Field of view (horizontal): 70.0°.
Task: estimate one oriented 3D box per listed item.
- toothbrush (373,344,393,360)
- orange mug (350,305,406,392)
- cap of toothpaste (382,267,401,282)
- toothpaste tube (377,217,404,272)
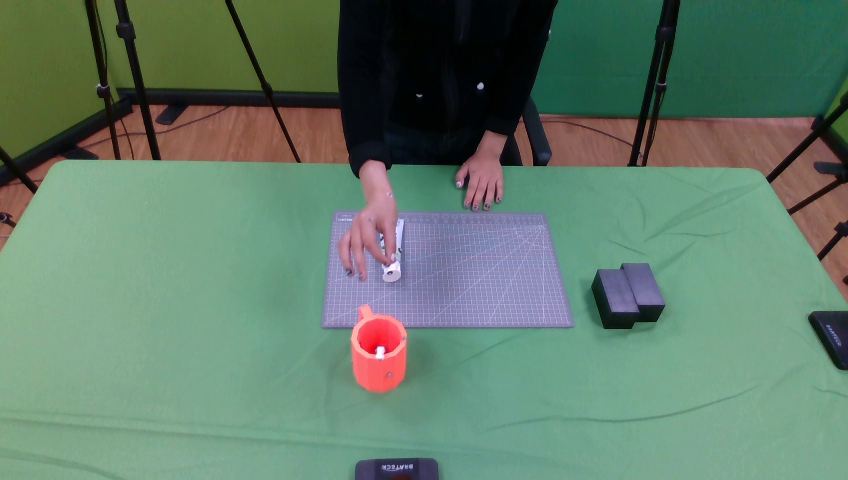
[{"bbox_3d":[-0.062,0.167,0.925,0.014,0.182,0.016,-19,83,0],"label":"toothbrush"},{"bbox_3d":[-0.080,0.168,0.978,0.083,0.101,0.125,-16,54,-18],"label":"orange mug"},{"bbox_3d":[-0.060,0.063,1.119,0.037,0.037,0.011,-9,50,-12],"label":"cap of toothpaste"},{"bbox_3d":[-0.063,0.008,1.179,0.055,0.034,0.164,5,42,-9],"label":"toothpaste tube"}]
